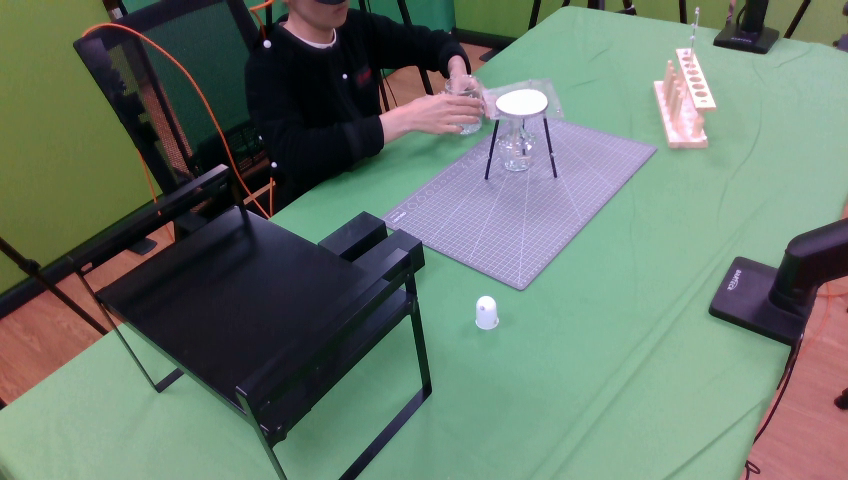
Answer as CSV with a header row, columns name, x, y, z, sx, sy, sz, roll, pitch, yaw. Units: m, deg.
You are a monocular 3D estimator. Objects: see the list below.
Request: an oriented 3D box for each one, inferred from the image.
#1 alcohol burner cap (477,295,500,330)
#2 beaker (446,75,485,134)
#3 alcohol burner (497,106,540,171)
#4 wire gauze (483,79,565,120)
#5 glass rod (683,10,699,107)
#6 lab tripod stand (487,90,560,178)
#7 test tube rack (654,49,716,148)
name,x,y,z,sx,sy,sz,roll,pitch,yaw
alcohol burner cap,0.089,0.097,0.833,0.034,0.048,0.033,-4,42,4
beaker,0.088,-0.273,1.221,0.073,0.101,0.084,21,48,29
alcohol burner,0.170,-0.187,1.092,0.078,0.119,0.077,-6,41,6
wire gauze,0.168,-0.238,1.034,0.125,0.011,0.121,-6,41,2
glass rod,0.501,-0.335,1.138,0.008,0.201,0.008,-7,45,7
lab tripod stand,0.175,-0.185,1.074,0.148,0.132,0.147,-5,43,5
test tube rack,0.502,-0.280,1.176,0.066,0.085,0.241,2,41,11
